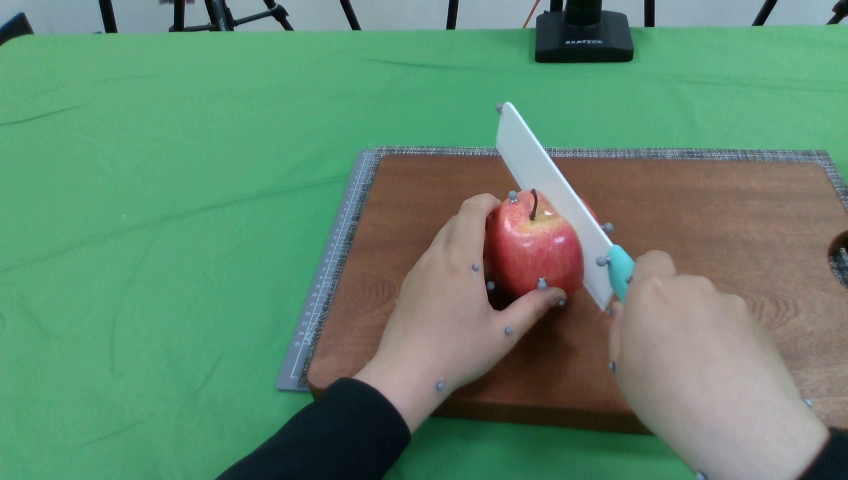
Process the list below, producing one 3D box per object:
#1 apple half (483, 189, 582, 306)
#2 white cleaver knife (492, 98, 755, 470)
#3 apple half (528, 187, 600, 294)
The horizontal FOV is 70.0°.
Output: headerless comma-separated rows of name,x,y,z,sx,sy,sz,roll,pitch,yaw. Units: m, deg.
apple half,0.070,0.011,0.431,0.053,0.075,0.080,-22,48,-10
white cleaver knife,0.111,0.011,0.391,0.021,0.066,0.283,-19,55,-10
apple half,0.107,-0.002,0.441,0.033,0.082,0.080,-19,45,-14
